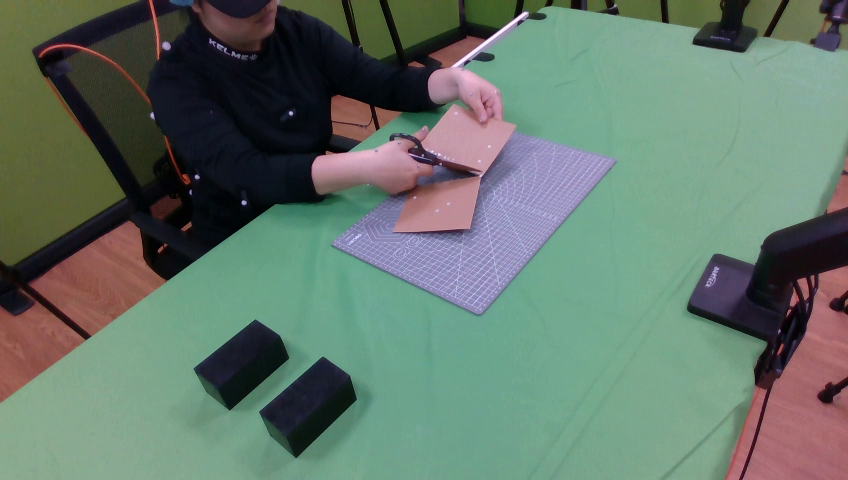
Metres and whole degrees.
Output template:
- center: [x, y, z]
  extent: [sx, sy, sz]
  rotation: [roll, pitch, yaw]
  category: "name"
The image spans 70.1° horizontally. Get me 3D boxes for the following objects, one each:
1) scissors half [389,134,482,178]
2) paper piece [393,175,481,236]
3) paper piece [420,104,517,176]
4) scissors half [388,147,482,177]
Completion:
- center: [0.021, -0.144, 1.053]
  extent: [0.175, 0.040, 0.013]
  rotation: [24, 62, -7]
  category: "scissors half"
- center: [0.024, -0.059, 1.027]
  extent: [0.135, 0.004, 0.135]
  rotation: [-5, 43, 21]
  category: "paper piece"
- center: [0.079, -0.185, 1.102]
  extent: [0.135, 0.009, 0.138]
  rotation: [28, 59, 15]
  category: "paper piece"
- center: [0.019, -0.133, 1.070]
  extent: [0.175, 0.040, 0.013]
  rotation: [14, 56, 11]
  category: "scissors half"
